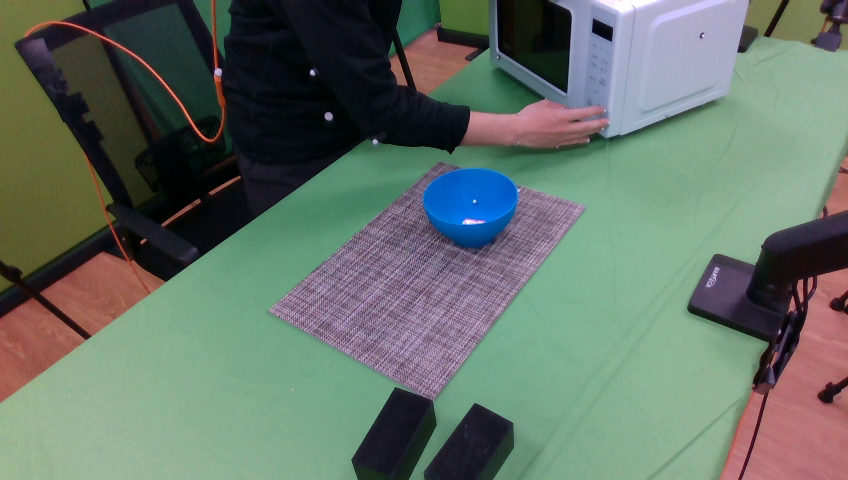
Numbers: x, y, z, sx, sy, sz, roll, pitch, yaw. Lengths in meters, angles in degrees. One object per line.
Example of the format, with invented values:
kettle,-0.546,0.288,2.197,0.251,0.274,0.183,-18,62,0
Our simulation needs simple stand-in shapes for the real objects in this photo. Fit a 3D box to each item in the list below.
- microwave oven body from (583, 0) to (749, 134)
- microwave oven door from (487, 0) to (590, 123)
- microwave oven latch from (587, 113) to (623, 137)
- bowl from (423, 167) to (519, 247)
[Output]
microwave oven body,0.382,-0.445,1.246,0.327,0.261,0.437,-22,42,-16
microwave oven door,0.232,-0.420,1.230,0.039,0.245,0.352,-22,43,-16
microwave oven latch,0.340,-0.223,1.142,0.030,0.029,0.078,-17,41,-10
bowl,0.075,-0.041,0.958,0.151,0.077,0.150,-4,41,4
